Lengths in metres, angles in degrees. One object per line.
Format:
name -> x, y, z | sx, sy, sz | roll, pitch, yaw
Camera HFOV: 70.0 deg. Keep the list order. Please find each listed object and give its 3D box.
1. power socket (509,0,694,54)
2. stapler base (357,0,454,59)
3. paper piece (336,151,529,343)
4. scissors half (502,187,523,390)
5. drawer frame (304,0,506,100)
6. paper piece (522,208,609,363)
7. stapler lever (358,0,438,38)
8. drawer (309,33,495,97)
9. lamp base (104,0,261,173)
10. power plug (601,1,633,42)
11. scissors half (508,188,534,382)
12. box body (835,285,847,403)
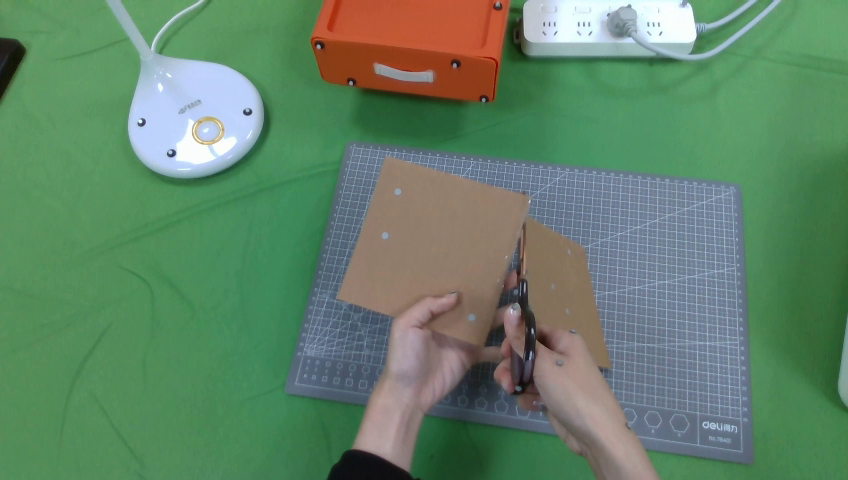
power socket -> 0.221, -0.269, 0.754 | 0.227, 0.033, 0.071 | 2, 67, 3
stapler base -> -0.025, -0.258, 0.704 | 0.129, 0.024, 0.041 | 37, 89, 19
paper piece -> 0.005, 0.004, 0.524 | 0.135, 0.009, 0.138 | 18, 91, 11
scissors half -> 0.077, 0.036, 0.508 | 0.013, 0.040, 0.174 | 7, 75, -1
drawer frame -> -0.008, -0.278, 0.693 | 0.201, 0.083, 0.212 | 8, 66, 6
paper piece -> 0.132, 0.044, 0.577 | 0.004, 0.137, 0.134 | -23, 60, 36
stapler lever -> -0.034, -0.264, 0.680 | 0.117, 0.040, 0.027 | 37, 89, 20
drawer -> -0.007, -0.276, 0.692 | 0.194, 0.074, 0.210 | 8, 66, 7
lamp base -> -0.289, -0.189, 0.659 | 0.178, 0.181, 0.160 | 39, 73, 20
power plug -> 0.228, -0.252, 0.721 | 0.035, 0.053, 0.072 | 12, 68, 7
scissors half -> 0.078, 0.029, 0.489 | 0.013, 0.040, 0.173 | 8, 57, -6
box body -> 0.554, 0.016, 0.546 | 0.253, 0.161, 0.362 | 20, 69, 11
